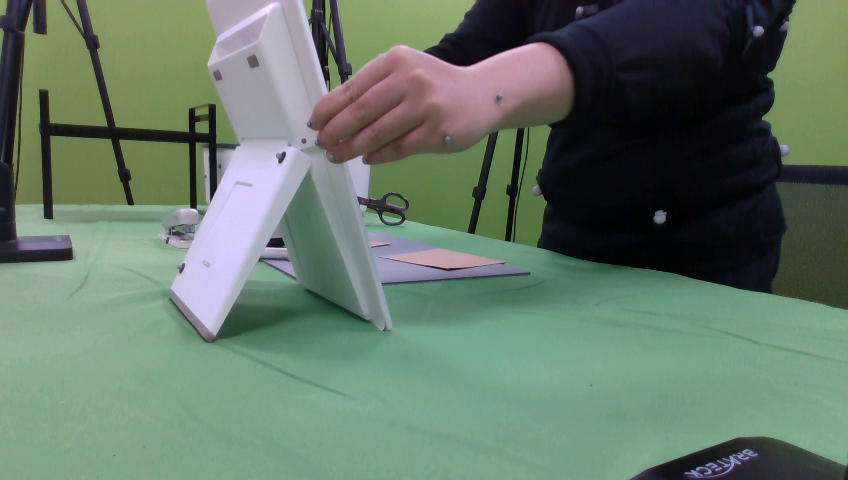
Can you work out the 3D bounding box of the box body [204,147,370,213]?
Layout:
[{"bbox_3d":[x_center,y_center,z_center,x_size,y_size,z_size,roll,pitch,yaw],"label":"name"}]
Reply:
[{"bbox_3d":[-0.346,-0.152,1.519,0.366,0.160,0.253,-2,9,-31],"label":"box body"}]

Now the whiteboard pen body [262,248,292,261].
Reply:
[{"bbox_3d":[-0.208,0.018,0.804,0.141,0.017,0.017,3,7,1],"label":"whiteboard pen body"}]

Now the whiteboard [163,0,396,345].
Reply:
[{"bbox_3d":[-0.173,-0.053,0.511,0.144,0.305,0.216,-23,19,-26],"label":"whiteboard"}]

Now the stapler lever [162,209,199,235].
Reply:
[{"bbox_3d":[-0.376,-0.031,0.933,0.027,0.040,0.117,1,7,-38],"label":"stapler lever"}]

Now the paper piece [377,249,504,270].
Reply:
[{"bbox_3d":[0.025,0.026,0.865,0.134,0.004,0.136,10,10,43],"label":"paper piece"}]

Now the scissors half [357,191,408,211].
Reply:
[{"bbox_3d":[-0.122,-0.091,1.317,0.175,0.040,0.013,6,15,-2],"label":"scissors half"}]

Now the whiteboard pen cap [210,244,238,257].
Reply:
[{"bbox_3d":[-0.266,0.014,0.806,0.033,0.018,0.018,0,7,0],"label":"whiteboard pen cap"}]

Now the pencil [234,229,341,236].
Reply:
[{"bbox_3d":[-0.232,-0.012,1.053,0.195,0.012,0.012,0,8,-36],"label":"pencil"}]

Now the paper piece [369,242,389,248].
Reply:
[{"bbox_3d":[-0.151,0.003,0.978,0.135,0.008,0.139,13,10,35],"label":"paper piece"}]

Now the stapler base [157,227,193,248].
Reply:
[{"bbox_3d":[-0.376,-0.007,0.934,0.041,0.024,0.130,1,5,-38],"label":"stapler base"}]

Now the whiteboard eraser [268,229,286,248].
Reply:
[{"bbox_3d":[-0.253,-0.008,0.886,0.055,0.042,0.113,11,12,42],"label":"whiteboard eraser"}]

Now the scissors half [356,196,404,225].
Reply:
[{"bbox_3d":[-0.127,-0.072,1.322,0.175,0.040,0.013,22,9,-5],"label":"scissors half"}]

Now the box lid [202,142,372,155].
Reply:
[{"bbox_3d":[-0.344,-0.225,1.509,0.373,0.015,0.262,-2,8,-31],"label":"box lid"}]
